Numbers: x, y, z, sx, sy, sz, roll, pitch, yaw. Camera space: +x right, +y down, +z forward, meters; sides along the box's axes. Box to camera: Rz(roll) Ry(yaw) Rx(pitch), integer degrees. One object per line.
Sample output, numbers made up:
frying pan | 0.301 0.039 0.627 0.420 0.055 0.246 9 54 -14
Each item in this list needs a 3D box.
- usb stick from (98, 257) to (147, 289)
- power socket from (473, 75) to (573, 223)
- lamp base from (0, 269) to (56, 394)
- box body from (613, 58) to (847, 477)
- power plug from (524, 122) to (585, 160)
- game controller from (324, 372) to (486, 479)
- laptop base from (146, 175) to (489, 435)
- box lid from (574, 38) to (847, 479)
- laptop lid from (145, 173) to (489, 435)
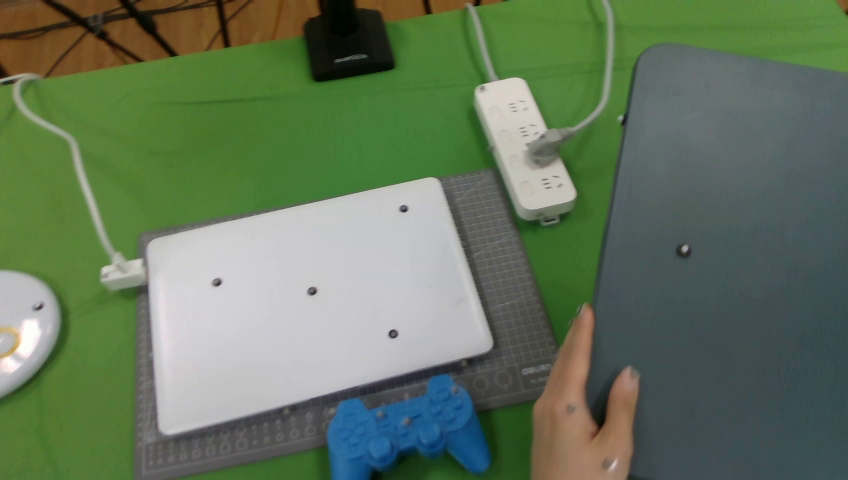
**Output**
usb stick | -0.334 0.037 0.688 0.059 0.027 0.021 -10 55 -8
power socket | 0.123 -0.124 0.774 0.072 0.033 0.224 -12 61 -7
lamp base | -0.502 0.063 0.599 0.179 0.182 0.159 12 61 11
box body | 0.359 0.022 0.613 0.253 0.161 0.362 18 63 11
power plug | 0.159 -0.115 0.742 0.072 0.053 0.035 -2 60 -1
game controller | -0.023 0.189 0.593 0.155 0.052 0.096 -13 59 -6
laptop base | -0.127 0.060 0.684 0.355 0.023 0.233 -14 65 -7
box lid | 0.270 0.006 0.461 0.263 0.015 0.369 13 68 7
laptop lid | -0.127 0.057 0.673 0.357 0.013 0.239 -12 63 -5
